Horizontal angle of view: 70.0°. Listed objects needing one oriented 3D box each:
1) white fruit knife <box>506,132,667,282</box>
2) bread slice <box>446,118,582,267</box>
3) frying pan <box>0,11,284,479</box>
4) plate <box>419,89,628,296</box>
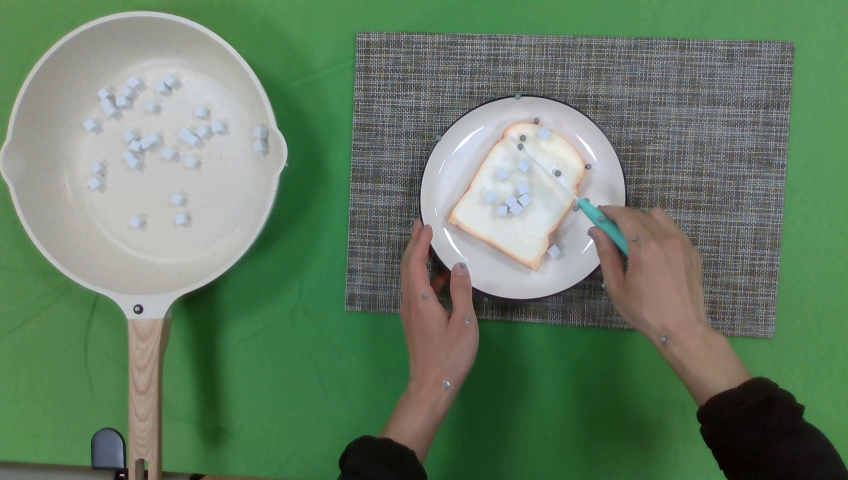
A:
[{"bbox_3d":[0.153,-0.036,0.583,0.016,0.027,0.206,-46,76,4],"label":"white fruit knife"},{"bbox_3d":[0.097,-0.055,0.624,0.107,0.018,0.134,26,95,2],"label":"bread slice"},{"bbox_3d":[-0.287,0.018,0.631,0.306,0.103,0.486,-1,84,6],"label":"frying pan"},{"bbox_3d":[0.100,-0.047,0.623,0.207,0.039,0.207,0,92,5],"label":"plate"}]
